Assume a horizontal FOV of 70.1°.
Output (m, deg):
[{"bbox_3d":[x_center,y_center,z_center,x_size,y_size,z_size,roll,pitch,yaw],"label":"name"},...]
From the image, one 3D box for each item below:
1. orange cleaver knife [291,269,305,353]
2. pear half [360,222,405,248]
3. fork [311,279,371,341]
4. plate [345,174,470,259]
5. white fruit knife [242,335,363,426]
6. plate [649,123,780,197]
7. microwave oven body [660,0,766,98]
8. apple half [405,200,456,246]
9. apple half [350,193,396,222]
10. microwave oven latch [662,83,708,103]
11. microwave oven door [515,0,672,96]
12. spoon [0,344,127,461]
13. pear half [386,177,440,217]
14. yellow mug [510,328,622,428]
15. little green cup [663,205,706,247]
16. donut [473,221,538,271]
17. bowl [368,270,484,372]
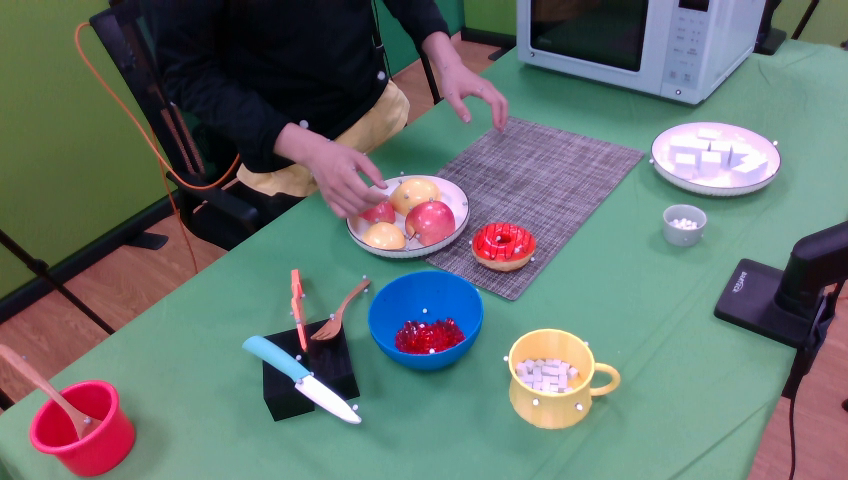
[{"bbox_3d":[-0.175,0.094,0.844,0.012,0.077,0.210,-11,15,-10],"label":"orange cleaver knife"},{"bbox_3d":[-0.064,-0.013,0.960,0.071,0.031,0.087,6,21,-25],"label":"pear half"},{"bbox_3d":[-0.108,0.092,0.832,0.028,0.019,0.207,-6,19,15],"label":"fork"},{"bbox_3d":[-0.026,-0.036,1.004,0.209,0.038,0.208,-4,40,4],"label":"plate"},{"bbox_3d":[-0.148,0.167,0.730,0.206,0.016,0.027,26,79,31],"label":"white fruit knife"},{"bbox_3d":[0.497,-0.135,1.046,0.207,0.039,0.206,-4,40,4],"label":"plate"},{"bbox_3d":[0.472,-0.513,1.317,0.438,0.261,0.327,26,51,34],"label":"microwave oven body"},{"bbox_3d":[0.010,-0.035,0.969,0.075,0.053,0.080,-27,40,-21],"label":"apple half"},{"bbox_3d":[-0.080,-0.058,1.008,0.081,0.033,0.081,11,24,-4],"label":"apple half"},{"bbox_3d":[0.518,-0.296,1.204,0.078,0.029,0.030,27,52,35],"label":"microwave oven latch"},{"bbox_3d":[0.343,-0.454,1.259,0.353,0.245,0.039,26,51,33],"label":"microwave oven door"},{"bbox_3d":[-0.433,0.191,0.721,0.194,0.021,0.042,47,54,-7],"label":"spoon"},{"bbox_3d":[-0.030,-0.079,1.033,0.109,0.056,0.076,-1,36,15],"label":"pear half"},{"bbox_3d":[0.168,0.164,0.722,0.130,0.064,0.099,0,41,8],"label":"yellow mug"},{"bbox_3d":[0.396,-0.021,0.926,0.061,0.039,0.061,-4,40,4],"label":"little green cup"},{"bbox_3d":[0.123,0.008,0.923,0.099,0.048,0.098,-3,38,3],"label":"donut"},{"bbox_3d":[0.006,0.118,0.792,0.151,0.077,0.150,-5,40,4],"label":"bowl"}]
